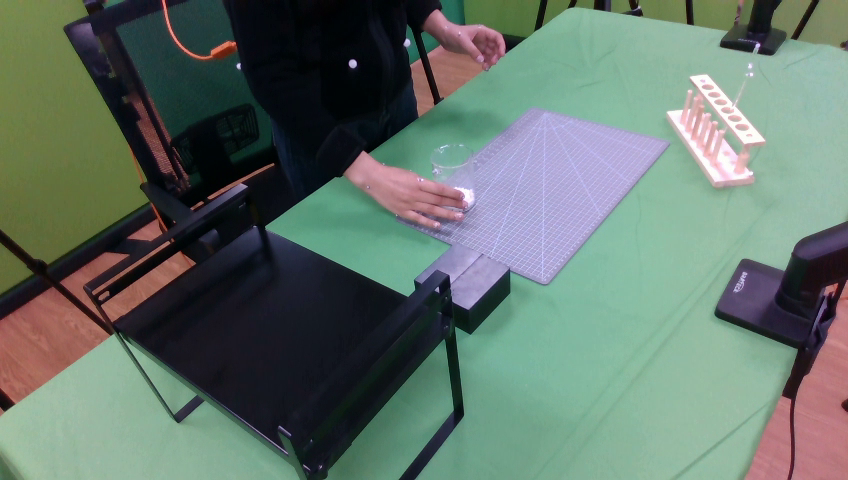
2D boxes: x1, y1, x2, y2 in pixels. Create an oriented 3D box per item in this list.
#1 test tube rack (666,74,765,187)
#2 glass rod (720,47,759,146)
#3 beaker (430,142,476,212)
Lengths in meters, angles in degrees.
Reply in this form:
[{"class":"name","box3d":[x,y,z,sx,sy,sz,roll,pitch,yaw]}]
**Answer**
[{"class":"test tube rack","box3d":[0.512,-0.201,1.082,0.067,0.085,0.241,-6,41,2]},{"class":"glass rod","box3d":[0.527,-0.234,1.018,0.008,0.200,0.008,-2,48,3]},{"class":"beaker","box3d":[0.050,-0.106,1.026,0.074,0.101,0.083,-25,43,-20]}]
